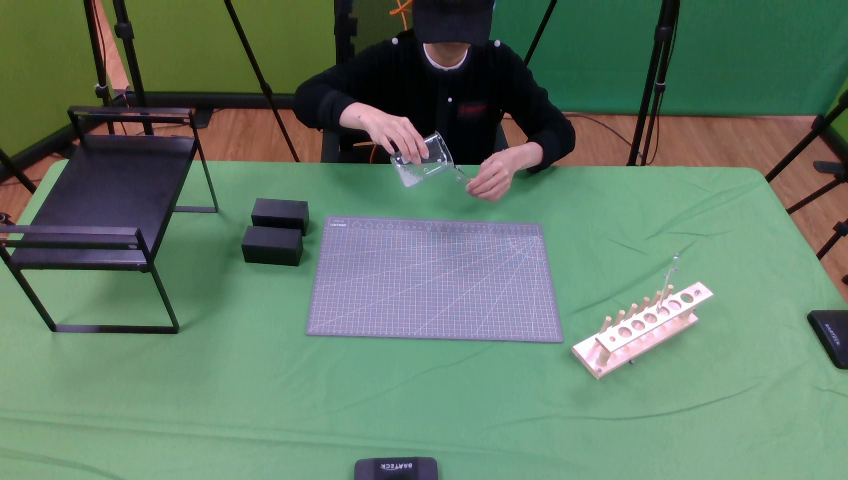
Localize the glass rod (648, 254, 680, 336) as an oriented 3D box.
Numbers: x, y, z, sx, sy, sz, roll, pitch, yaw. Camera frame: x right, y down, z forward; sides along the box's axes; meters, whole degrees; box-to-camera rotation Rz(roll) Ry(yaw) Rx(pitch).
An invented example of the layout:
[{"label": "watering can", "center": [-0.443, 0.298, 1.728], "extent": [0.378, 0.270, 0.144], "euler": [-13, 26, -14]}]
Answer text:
[{"label": "glass rod", "center": [0.390, 0.094, 0.991], "extent": [0.008, 0.201, 0.008], "euler": [-1, 44, 2]}]

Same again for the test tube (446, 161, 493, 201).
[{"label": "test tube", "center": [0.092, -0.113, 1.188], "extent": [0.017, 0.151, 0.017], "euler": [-20, 55, 31]}]

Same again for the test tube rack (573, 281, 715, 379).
[{"label": "test tube rack", "center": [0.378, 0.140, 1.038], "extent": [0.242, 0.085, 0.066], "euler": [-22, 51, -22]}]

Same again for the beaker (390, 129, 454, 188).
[{"label": "beaker", "center": [-0.004, -0.144, 1.106], "extent": [0.100, 0.084, 0.073], "euler": [-27, 50, -2]}]
